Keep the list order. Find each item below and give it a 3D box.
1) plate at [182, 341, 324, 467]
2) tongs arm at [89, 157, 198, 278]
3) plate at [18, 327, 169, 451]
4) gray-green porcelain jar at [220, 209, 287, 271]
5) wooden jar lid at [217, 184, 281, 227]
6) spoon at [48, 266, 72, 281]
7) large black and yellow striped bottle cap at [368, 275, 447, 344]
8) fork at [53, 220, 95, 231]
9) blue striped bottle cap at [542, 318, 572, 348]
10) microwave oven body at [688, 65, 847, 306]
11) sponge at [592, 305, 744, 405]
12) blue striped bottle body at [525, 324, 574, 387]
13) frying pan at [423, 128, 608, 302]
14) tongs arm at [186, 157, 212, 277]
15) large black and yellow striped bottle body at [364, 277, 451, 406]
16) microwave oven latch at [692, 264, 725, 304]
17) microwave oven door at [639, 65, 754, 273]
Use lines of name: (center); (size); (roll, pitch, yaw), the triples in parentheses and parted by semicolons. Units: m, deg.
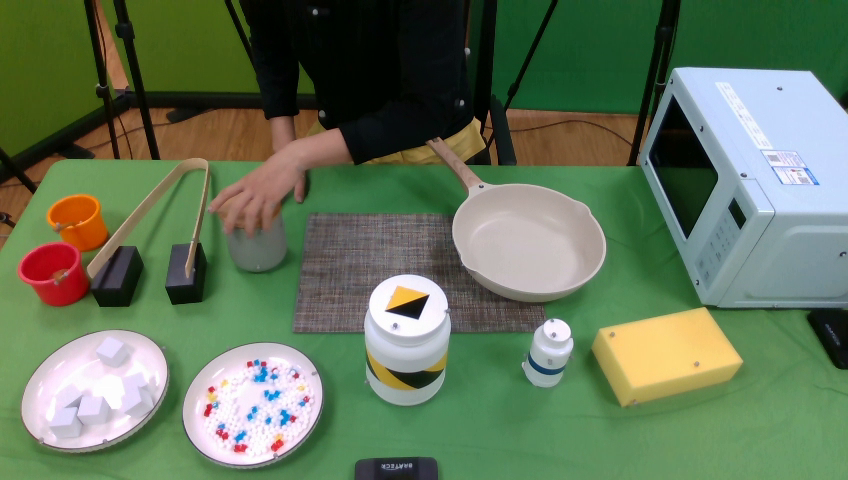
plate: (-0.257, 0.250, 0.927); (0.209, 0.038, 0.208); (3, 46, -2)
tongs arm: (-0.530, -0.058, 1.164); (0.028, 0.028, 0.385); (1, 36, 8)
plate: (-0.498, 0.229, 0.929); (0.208, 0.039, 0.206); (3, 47, -2)
gray-green porcelain jar: (-0.310, -0.014, 1.114); (0.106, 0.127, 0.105); (2, 46, -2)
wooden jar lid: (-0.307, -0.057, 1.068); (0.108, 0.021, 0.107); (4, 44, -4)
spoon: (-0.609, 0.057, 1.010); (0.041, 0.022, 0.193); (-32, 13, -27)
large black and yellow striped bottle cap: (-0.024, 0.098, 0.871); (0.115, 0.019, 0.114); (2, 45, -2)
fork: (-0.627, -0.026, 1.086); (0.028, 0.018, 0.207); (0, 2, -15)
blue striped bottle cap: (0.205, 0.143, 0.933); (0.044, 0.021, 0.044); (0, 47, 0)
microwave oven body: (0.669, -0.111, 1.176); (0.326, 0.261, 0.439); (0, 46, -3)
sponge: (0.405, 0.190, 1.015); (0.207, 0.061, 0.117); (-10, 48, -13)
blue striped bottle body: (0.202, 0.179, 0.970); (0.063, 0.121, 0.062); (2, 46, -2)
frying pan: (0.142, -0.069, 1.208); (0.307, 0.103, 0.485); (-23, 61, -25)
tongs arm: (-0.445, -0.058, 1.168); (0.051, 0.026, 0.382); (-5, 37, -6)
large black and yellow striped bottle body: (-0.026, 0.155, 0.933); (0.131, 0.185, 0.130); (2, 47, -2)
microwave oven latch: (0.522, 0.081, 1.116); (0.030, 0.029, 0.078); (1, 46, -2)
microwave oven door: (0.522, -0.147, 1.192); (0.039, 0.245, 0.353); (1, 47, -3)
